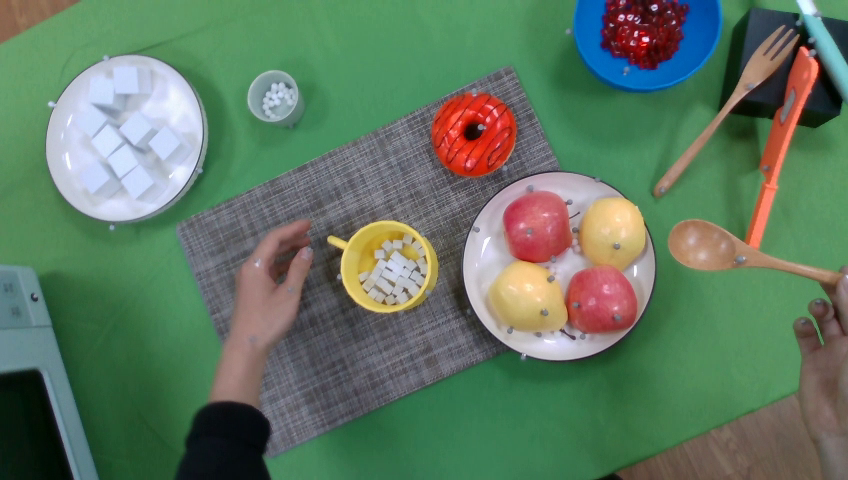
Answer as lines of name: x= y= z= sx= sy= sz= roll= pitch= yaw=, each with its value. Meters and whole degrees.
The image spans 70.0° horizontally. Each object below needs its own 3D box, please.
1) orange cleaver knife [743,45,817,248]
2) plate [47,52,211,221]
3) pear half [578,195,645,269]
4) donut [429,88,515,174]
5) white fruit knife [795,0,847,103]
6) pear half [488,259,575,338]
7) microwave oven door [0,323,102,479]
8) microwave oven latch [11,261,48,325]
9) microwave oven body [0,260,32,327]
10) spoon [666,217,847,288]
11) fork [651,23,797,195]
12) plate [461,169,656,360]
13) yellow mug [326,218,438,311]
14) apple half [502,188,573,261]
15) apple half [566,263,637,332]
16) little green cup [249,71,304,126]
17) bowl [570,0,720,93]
orange cleaver knife: x=0.367 y=-0.093 z=0.634 sx=0.012 sy=0.077 sz=0.212 roll=12 pitch=112 yaw=13
plate: x=-0.358 y=-0.125 z=0.748 sx=0.207 sy=0.039 sz=0.207 roll=-1 pitch=85 yaw=7
pear half: x=0.198 y=-0.004 z=0.651 sx=0.070 sy=0.031 sz=0.088 roll=6 pitch=97 yaw=31
donut: x=0.055 y=-0.123 z=0.690 sx=0.099 sy=0.048 sz=0.099 roll=-1 pitch=87 yaw=10
white fruit knife: x=0.400 y=-0.228 z=0.624 sx=0.027 sy=0.016 sz=0.206 roll=-19 pitch=80 yaw=-24
pear half: x=0.124 y=0.070 z=0.655 sx=0.109 sy=0.056 sz=0.076 roll=38 pitch=96 yaw=3
microwave oven door: x=-0.418 y=0.259 z=0.603 sx=0.039 sy=0.244 sz=0.354 roll=-22 pitch=83 yaw=5
microwave oven latch: x=-0.482 y=0.065 z=0.729 sx=0.030 sy=0.029 sz=0.079 roll=-20 pitch=84 yaw=5
microwave oven body: x=-0.567 y=0.275 z=0.625 sx=0.326 sy=0.261 sz=0.440 roll=-22 pitch=84 yaw=4
spoon: x=0.290 y=0.022 z=0.475 sx=0.192 sy=0.022 sz=0.041 roll=17 pitch=83 yaw=20
fork: x=0.310 y=-0.132 z=0.641 sx=0.028 sy=0.018 sz=0.208 roll=33 pitch=110 yaw=-1
plate: x=0.146 y=0.026 z=0.670 sx=0.209 sy=0.038 sz=0.208 roll=-1 pitch=85 yaw=7
yellow mug: x=-0.051 y=0.023 z=0.680 sx=0.130 sy=0.064 sz=0.100 roll=24 pitch=88 yaw=9
apple half: x=0.123 y=-0.017 z=0.659 sx=0.074 sy=0.053 sz=0.080 roll=-7 pitch=88 yaw=7
apple half: x=0.183 y=0.063 z=0.645 sx=0.081 sy=0.033 sz=0.081 roll=1 pitch=92 yaw=30
little green cup: x=-0.175 y=-0.167 z=0.729 sx=0.061 sy=0.039 sz=0.061 roll=-1 pitch=85 yaw=8
bowl: x=0.232 y=-0.226 z=0.663 sx=0.151 sy=0.077 sz=0.151 roll=-1 pitch=86 yaw=7
